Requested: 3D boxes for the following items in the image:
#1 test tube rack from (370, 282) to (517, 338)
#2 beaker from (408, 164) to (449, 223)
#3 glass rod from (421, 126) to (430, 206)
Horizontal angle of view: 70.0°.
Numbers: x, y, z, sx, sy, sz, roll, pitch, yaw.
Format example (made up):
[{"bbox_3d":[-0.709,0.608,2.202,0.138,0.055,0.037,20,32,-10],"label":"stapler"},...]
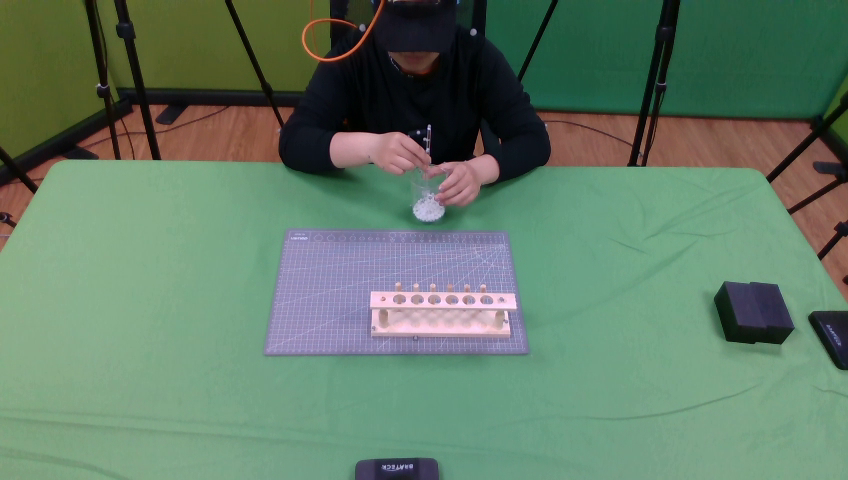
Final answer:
[{"bbox_3d":[0.030,0.116,1.041,0.242,0.085,0.066,1,46,-3],"label":"test tube rack"},{"bbox_3d":[0.010,-0.092,1.217,0.084,0.101,0.073,-17,48,-15],"label":"beaker"},{"bbox_3d":[0.003,-0.140,1.189,0.008,0.200,0.008,2,47,-2],"label":"glass rod"}]
